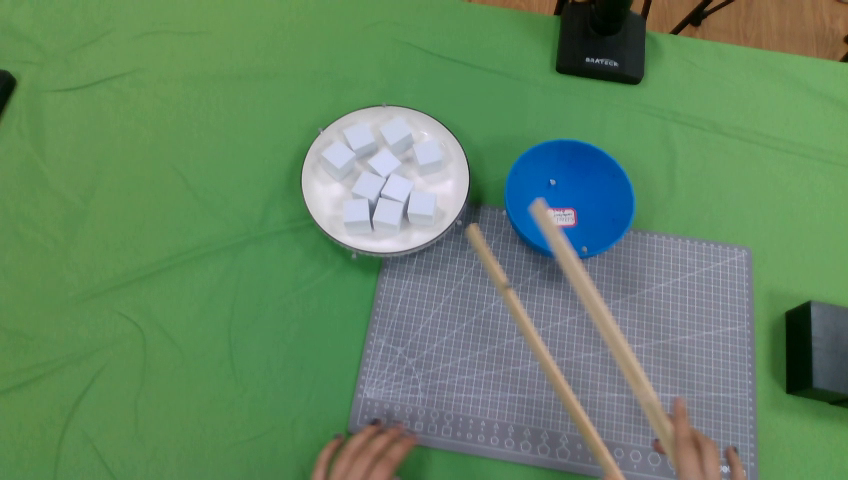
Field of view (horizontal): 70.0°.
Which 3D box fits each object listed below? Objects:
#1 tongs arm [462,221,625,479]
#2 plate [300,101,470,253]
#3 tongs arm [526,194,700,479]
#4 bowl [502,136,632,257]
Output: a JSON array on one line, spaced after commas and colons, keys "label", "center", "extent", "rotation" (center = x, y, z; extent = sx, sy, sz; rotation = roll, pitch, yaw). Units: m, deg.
[{"label": "tongs arm", "center": [0.148, 0.140, 0.569], "extent": [0.051, 0.026, 0.382], "rotation": [-22, 74, -23]}, {"label": "plate", "center": [-0.047, -0.077, 0.754], "extent": [0.208, 0.039, 0.206], "rotation": [1, 68, -1]}, {"label": "tongs arm", "center": [0.189, 0.123, 0.587], "extent": [0.028, 0.028, 0.385], "rotation": [-17, 72, -25]}, {"label": "bowl", "center": [0.163, -0.040, 0.726], "extent": [0.151, 0.077, 0.150], "rotation": [1, 68, -2]}]
